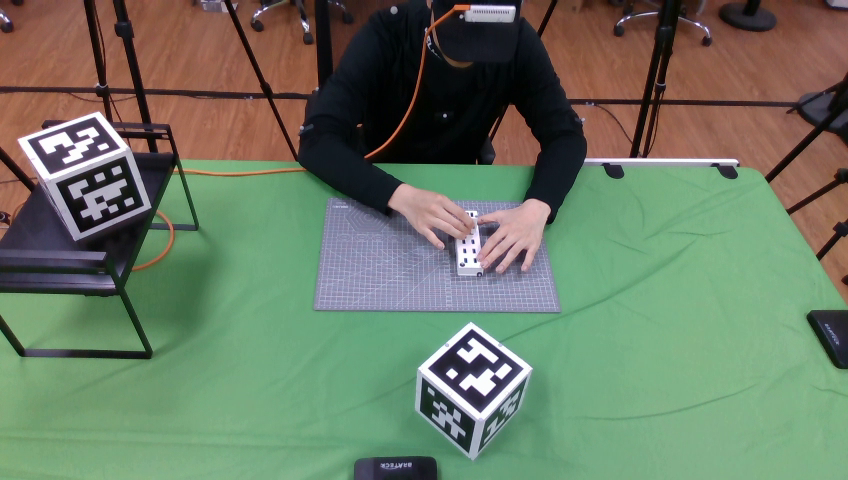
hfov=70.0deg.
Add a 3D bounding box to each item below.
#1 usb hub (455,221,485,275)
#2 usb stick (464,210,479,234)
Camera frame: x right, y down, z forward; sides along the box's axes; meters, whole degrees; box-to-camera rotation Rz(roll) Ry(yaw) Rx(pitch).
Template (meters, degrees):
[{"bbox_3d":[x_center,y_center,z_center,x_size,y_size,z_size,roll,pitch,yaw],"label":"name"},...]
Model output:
[{"bbox_3d":[0.088,0.014,1.178,0.049,0.025,0.124,0,46,-3],"label":"usb hub"},{"bbox_3d":[0.092,-0.031,1.175,0.027,0.059,0.021,-6,51,-1],"label":"usb stick"}]
